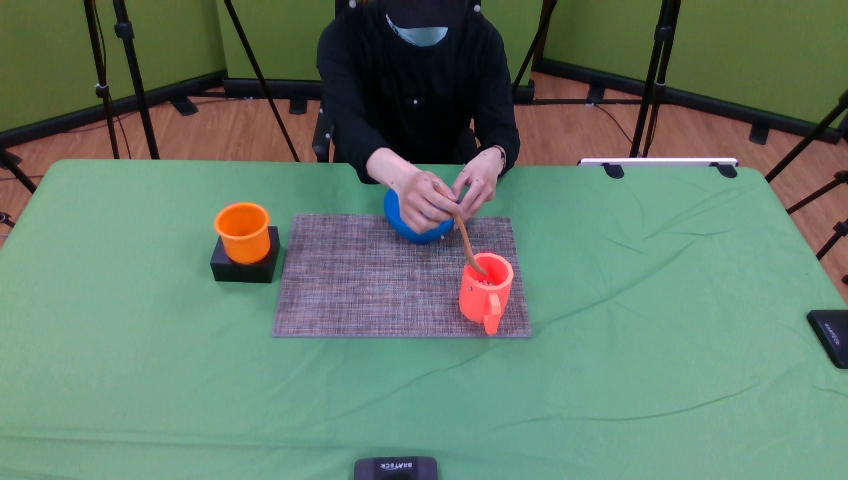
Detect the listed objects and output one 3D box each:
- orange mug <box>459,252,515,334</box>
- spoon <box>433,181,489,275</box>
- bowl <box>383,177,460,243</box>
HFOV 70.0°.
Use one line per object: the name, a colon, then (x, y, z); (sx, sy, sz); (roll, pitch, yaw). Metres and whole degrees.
orange mug: (0.111, 0.096, 1.052); (0.083, 0.101, 0.125); (-4, 42, -7)
spoon: (0.061, -0.016, 0.985); (0.021, 0.194, 0.041); (-29, 25, -6)
bowl: (-0.006, -0.047, 1.197); (0.151, 0.077, 0.150); (2, 46, -2)
